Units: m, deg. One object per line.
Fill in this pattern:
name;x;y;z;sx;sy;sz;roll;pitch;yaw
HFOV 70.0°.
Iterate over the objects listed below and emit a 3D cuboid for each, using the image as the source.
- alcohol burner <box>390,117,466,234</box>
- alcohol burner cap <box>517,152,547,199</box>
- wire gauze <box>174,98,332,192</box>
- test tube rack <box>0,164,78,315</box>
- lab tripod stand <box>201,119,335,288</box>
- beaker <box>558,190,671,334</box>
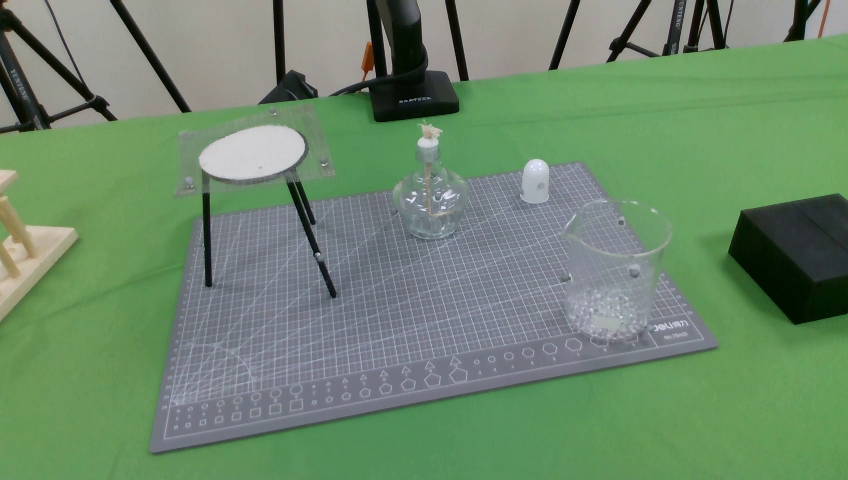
alcohol burner;0.003;-0.067;0.602;0.078;0.120;0.077;-3;38;3
alcohol burner cap;0.118;-0.072;0.656;0.034;0.048;0.033;-3;40;3
wire gauze;-0.148;-0.081;0.511;0.125;0.011;0.120;-13;40;-10
test tube rack;-0.428;0.033;0.544;0.066;0.086;0.240;4;40;9
lab tripod stand;-0.144;-0.030;0.554;0.148;0.133;0.147;-3;42;3
beaker;0.149;0.021;0.494;0.084;0.101;0.073;-2;40;4
